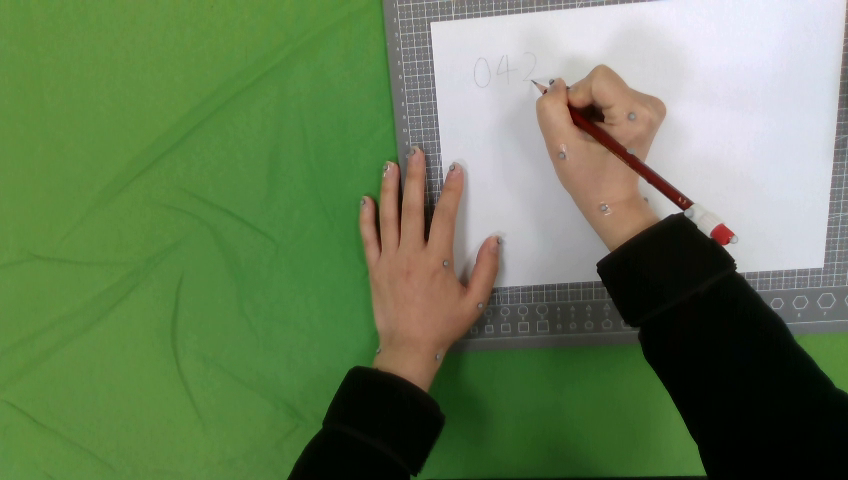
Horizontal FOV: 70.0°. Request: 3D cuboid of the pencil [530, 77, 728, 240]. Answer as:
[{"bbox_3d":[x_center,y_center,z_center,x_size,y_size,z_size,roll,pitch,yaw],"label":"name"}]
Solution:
[{"bbox_3d":[0.123,-0.063,0.396,0.012,0.192,0.012,-19,138,-18],"label":"pencil"}]
